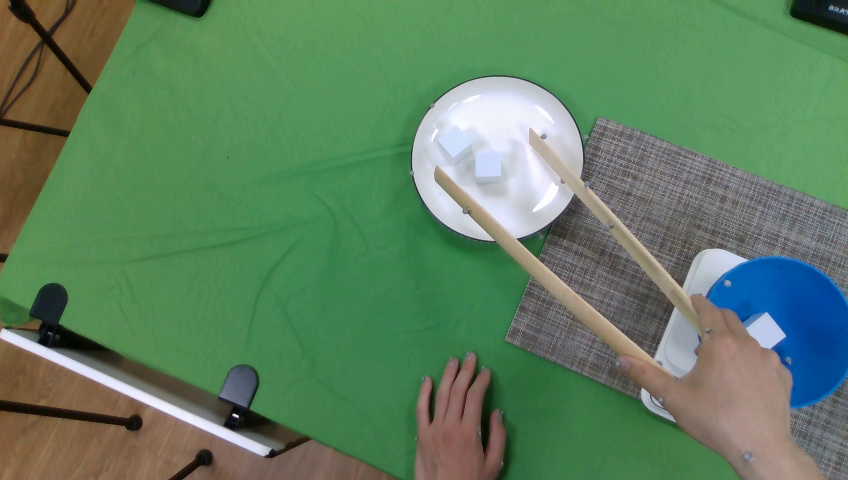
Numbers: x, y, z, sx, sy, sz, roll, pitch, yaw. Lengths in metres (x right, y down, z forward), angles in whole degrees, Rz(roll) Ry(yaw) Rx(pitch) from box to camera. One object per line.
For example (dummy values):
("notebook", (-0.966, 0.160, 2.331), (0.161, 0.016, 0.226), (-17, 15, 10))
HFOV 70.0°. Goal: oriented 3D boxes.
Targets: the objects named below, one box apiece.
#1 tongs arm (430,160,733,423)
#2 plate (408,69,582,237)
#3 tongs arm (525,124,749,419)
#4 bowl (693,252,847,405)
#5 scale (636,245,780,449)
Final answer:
("tongs arm", (0.124, 0.032, 0.589), (0.028, 0.028, 0.383), (-27, 53, -26))
("plate", (0.084, -0.103, 0.737), (0.207, 0.039, 0.207), (-1, 81, 4))
("tongs arm", (0.187, 0.004, 0.611), (0.051, 0.027, 0.380), (-20, 52, -17))
("bowl", (0.347, 0.091, 0.632), (0.151, 0.077, 0.151), (0, 82, 3))
("scale", (0.342, 0.118, 0.682), (0.148, 0.032, 0.200), (24, 84, 8))
